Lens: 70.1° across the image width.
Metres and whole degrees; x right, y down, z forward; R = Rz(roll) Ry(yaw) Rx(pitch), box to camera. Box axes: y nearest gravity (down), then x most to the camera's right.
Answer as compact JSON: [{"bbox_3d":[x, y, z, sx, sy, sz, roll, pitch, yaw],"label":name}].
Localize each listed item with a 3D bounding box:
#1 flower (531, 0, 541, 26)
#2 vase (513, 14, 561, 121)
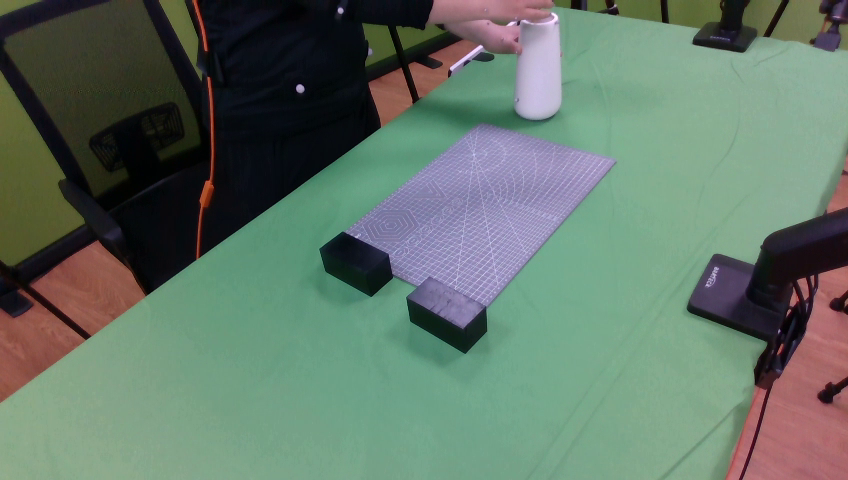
[{"bbox_3d":[0.209,-0.442,1.055,0.038,0.362,0.044,4,57,-4],"label":"flower"},{"bbox_3d":[0.225,-0.336,1.197,0.098,0.201,0.097,-5,42,5],"label":"vase"}]
